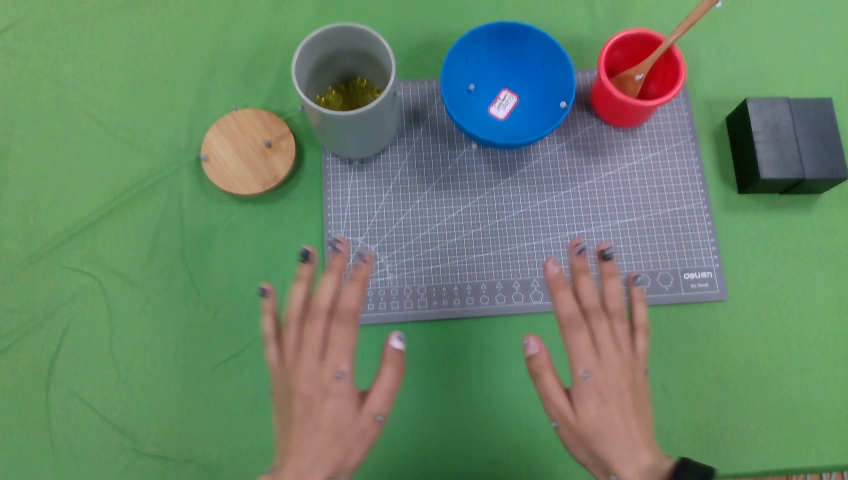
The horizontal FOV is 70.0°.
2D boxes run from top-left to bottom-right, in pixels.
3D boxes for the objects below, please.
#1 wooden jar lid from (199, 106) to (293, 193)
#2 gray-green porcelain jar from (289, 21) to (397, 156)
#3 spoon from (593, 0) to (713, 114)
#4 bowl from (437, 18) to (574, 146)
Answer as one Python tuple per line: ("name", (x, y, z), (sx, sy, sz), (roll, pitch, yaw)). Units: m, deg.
("wooden jar lid", (-0.207, -0.104, 0.710), (0.108, 0.021, 0.108), (0, 75, 0))
("gray-green porcelain jar", (-0.084, -0.159, 0.668), (0.106, 0.127, 0.105), (0, 75, -1))
("spoon", (0.266, -0.218, 0.679), (0.041, 0.022, 0.194), (51, 124, 12))
("bowl", (0.089, -0.167, 0.698), (0.151, 0.077, 0.150), (0, 75, 0))
